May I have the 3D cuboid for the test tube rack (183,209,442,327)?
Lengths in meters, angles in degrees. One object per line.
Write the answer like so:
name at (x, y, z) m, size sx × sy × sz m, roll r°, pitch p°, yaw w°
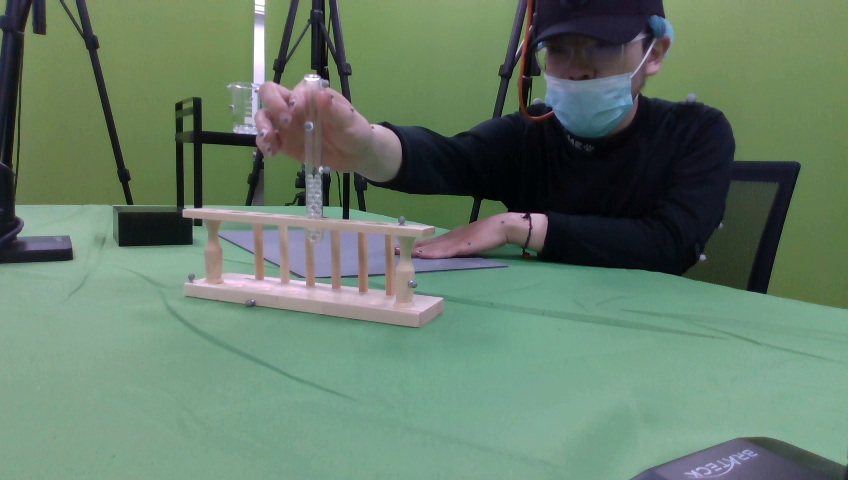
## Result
test tube rack at (-0.106, 0.019, 0.570) m, size 0.241 × 0.085 × 0.067 m, roll 5°, pitch 7°, yaw 20°

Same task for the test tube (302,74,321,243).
test tube at (-0.101, -0.072, 0.542) m, size 0.017 × 0.150 × 0.017 m, roll 0°, pitch 3°, yaw 0°

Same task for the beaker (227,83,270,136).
beaker at (-0.354, -0.262, 1.224) m, size 0.084 × 0.100 × 0.073 m, roll -2°, pitch 8°, yaw -28°
